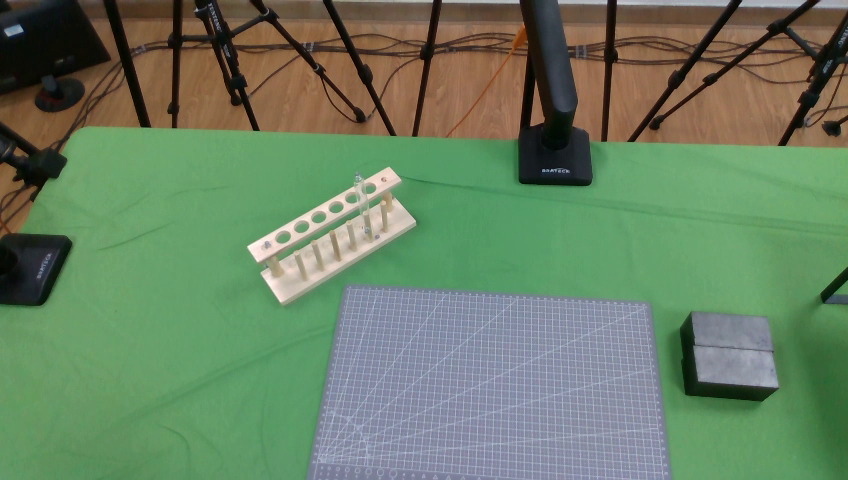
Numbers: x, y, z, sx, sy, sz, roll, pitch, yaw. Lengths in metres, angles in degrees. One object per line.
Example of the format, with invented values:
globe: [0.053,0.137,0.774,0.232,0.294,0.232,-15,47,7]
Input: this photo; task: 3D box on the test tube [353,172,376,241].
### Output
test tube: [-0.085,-0.046,0.877,0.017,0.151,0.017,-1,56,3]

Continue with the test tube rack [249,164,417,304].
test tube rack: [-0.130,-0.011,0.910,0.242,0.086,0.066,-32,61,-17]
